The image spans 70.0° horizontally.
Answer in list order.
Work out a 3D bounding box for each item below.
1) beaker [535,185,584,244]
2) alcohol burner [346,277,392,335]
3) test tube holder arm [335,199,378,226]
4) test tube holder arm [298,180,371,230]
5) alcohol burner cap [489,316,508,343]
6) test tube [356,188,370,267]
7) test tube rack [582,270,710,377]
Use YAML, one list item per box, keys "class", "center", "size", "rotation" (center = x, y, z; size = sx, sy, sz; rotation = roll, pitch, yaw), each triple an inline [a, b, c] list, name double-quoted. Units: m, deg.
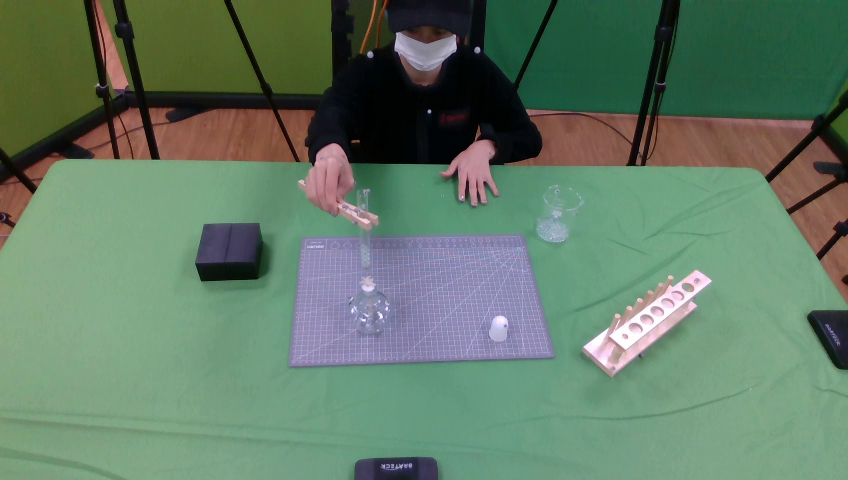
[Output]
- class: "beaker"
  center: [0.268, -0.048, 1.213]
  size: [0.084, 0.101, 0.073]
  rotation: [6, 46, 0]
- class: "alcohol burner"
  center: [-0.093, 0.106, 1.021]
  size: [0.078, 0.120, 0.077]
  rotation: [1, 46, -1]
- class: "test tube holder arm"
  center: [-0.105, -0.043, 0.913]
  size: [0.087, 0.015, 0.010]
  rotation: [22, 44, 30]
- class: "test tube holder arm"
  center: [-0.141, -0.057, 0.935]
  size: [0.013, 0.015, 0.177]
  rotation: [-33, 46, -33]
- class: "alcohol burner cap"
  center: [0.130, 0.151, 1.045]
  size: [0.034, 0.048, 0.033]
  rotation: [2, 46, -2]
- class: "test tube"
  center: [-0.092, -0.014, 0.915]
  size: [0.017, 0.151, 0.017]
  rotation: [1, 42, -1]
- class: "test tube rack"
  center: [0.389, 0.132, 1.057]
  size: [0.242, 0.085, 0.066]
  rotation: [-28, 53, -28]
